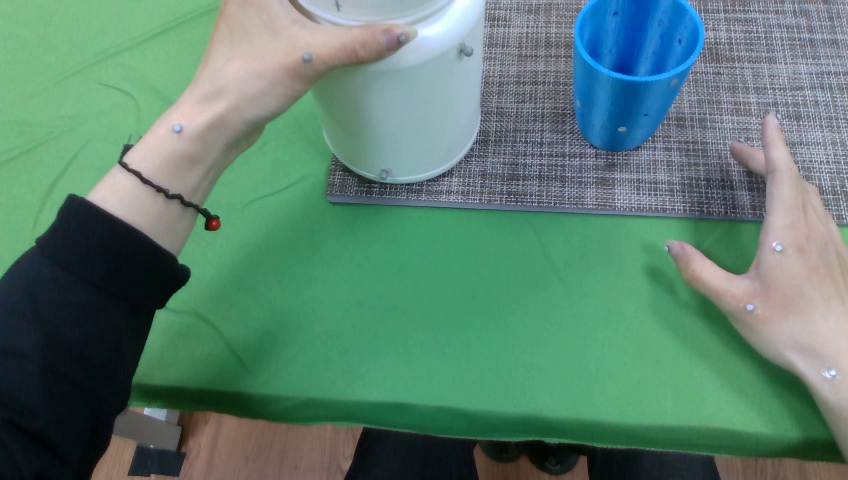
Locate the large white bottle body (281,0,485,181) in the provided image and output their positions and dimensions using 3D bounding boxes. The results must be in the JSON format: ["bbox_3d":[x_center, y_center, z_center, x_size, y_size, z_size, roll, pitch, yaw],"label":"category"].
[{"bbox_3d":[-0.024,-0.140,0.425,0.130,0.186,0.129,-1,65,3],"label":"large white bottle body"}]

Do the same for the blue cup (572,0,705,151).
[{"bbox_3d":[0.148,-0.118,0.448,0.092,0.101,0.092,-3,63,6],"label":"blue cup"}]

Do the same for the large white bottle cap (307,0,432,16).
[{"bbox_3d":[-0.029,-0.176,0.349,0.115,0.018,0.114,-1,65,2],"label":"large white bottle cap"}]
